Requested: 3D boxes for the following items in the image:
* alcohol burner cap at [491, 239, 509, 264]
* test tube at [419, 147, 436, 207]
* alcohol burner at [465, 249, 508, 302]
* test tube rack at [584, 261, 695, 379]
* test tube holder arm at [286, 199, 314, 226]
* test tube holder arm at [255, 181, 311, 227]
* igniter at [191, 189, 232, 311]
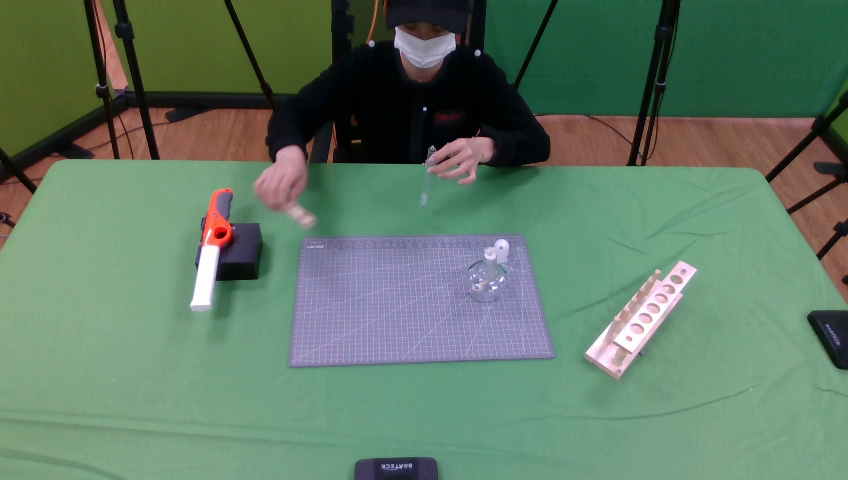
[{"bbox_3d":[0.150,0.020,1.174,0.034,0.048,0.033,2,46,-2],"label":"alcohol burner cap"},{"bbox_3d":[0.005,-0.118,1.166,0.017,0.151,0.017,5,49,-5],"label":"test tube"},{"bbox_3d":[0.114,0.057,1.085,0.078,0.120,0.077,2,48,-2],"label":"alcohol burner"},{"bbox_3d":[0.380,0.127,1.062,0.066,0.085,0.242,34,53,26],"label":"test tube rack"},{"bbox_3d":[-0.221,-0.049,1.065,0.010,0.015,0.087,-21,41,-39],"label":"test tube holder arm"},{"bbox_3d":[-0.256,-0.067,1.088,0.013,0.015,0.177,-22,41,-40],"label":"test tube holder arm"},{"bbox_3d":[-0.381,0.008,1.092,0.057,0.025,0.274,-1,50,-7],"label":"igniter"}]
